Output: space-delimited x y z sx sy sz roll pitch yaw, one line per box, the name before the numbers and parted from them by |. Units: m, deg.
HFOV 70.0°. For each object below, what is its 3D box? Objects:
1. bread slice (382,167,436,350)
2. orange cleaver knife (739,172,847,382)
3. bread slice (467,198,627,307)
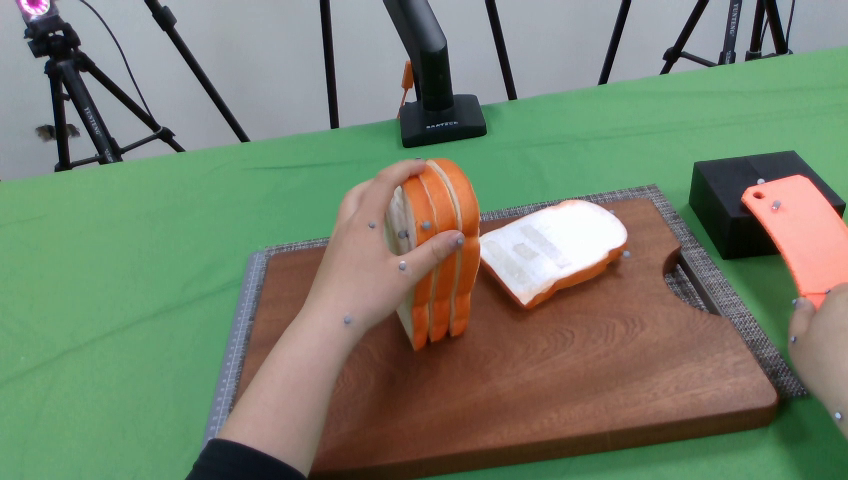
bread slice | -0.015 0.007 0.509 0.018 0.135 0.106 -9 33 -17
orange cleaver knife | 0.326 0.019 0.499 0.077 0.012 0.209 -3 49 6
bread slice | 0.120 0.006 0.562 0.131 0.019 0.103 -24 37 -11
